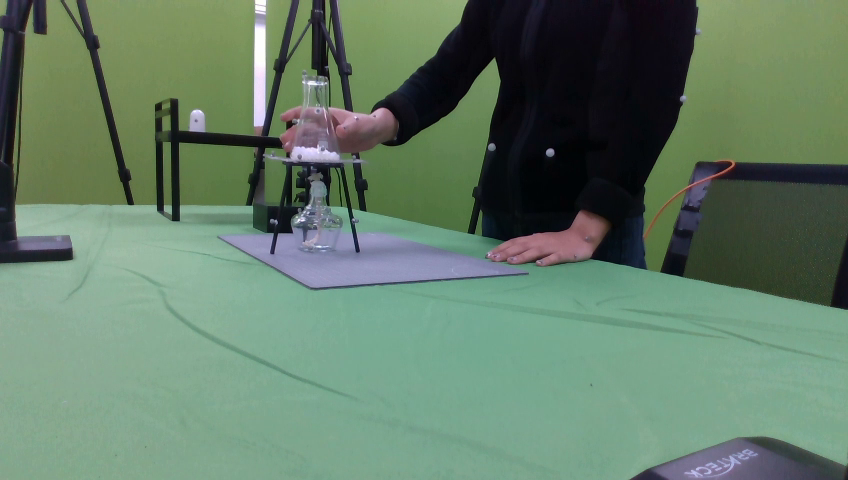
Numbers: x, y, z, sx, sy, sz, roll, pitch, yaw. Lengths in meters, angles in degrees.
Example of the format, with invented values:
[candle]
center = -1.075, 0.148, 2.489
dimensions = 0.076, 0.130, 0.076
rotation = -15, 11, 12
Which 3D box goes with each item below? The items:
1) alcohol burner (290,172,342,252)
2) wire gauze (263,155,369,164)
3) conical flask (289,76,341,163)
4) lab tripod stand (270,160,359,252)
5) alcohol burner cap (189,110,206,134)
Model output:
[alcohol burner]
center = -0.159, -0.041, 0.899
dimensions = 0.078, 0.119, 0.078
rotation = 5, 8, 0
[wire gauze]
center = -0.160, -0.116, 0.888
dimensions = 0.122, 0.011, 0.124
rotation = -1, 6, -32
[conical flask]
center = -0.159, -0.175, 0.882
dimensions = 0.075, 0.122, 0.075
rotation = 2, 9, 0
[lab tripod stand]
center = -0.167, -0.051, 0.892
dimensions = 0.148, 0.131, 0.148
rotation = 4, 9, 0
[alcohol burner cap]
center = -0.464, -0.242, 1.240
dimensions = 0.034, 0.048, 0.034
rotation = 4, 7, 0
